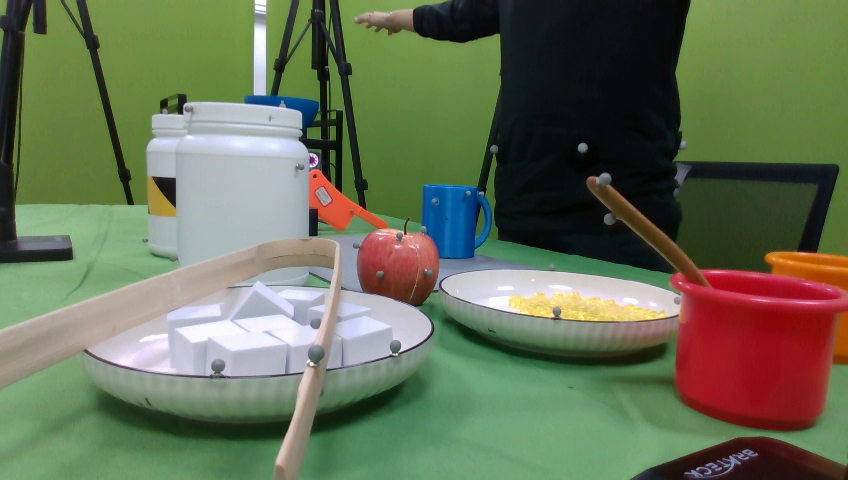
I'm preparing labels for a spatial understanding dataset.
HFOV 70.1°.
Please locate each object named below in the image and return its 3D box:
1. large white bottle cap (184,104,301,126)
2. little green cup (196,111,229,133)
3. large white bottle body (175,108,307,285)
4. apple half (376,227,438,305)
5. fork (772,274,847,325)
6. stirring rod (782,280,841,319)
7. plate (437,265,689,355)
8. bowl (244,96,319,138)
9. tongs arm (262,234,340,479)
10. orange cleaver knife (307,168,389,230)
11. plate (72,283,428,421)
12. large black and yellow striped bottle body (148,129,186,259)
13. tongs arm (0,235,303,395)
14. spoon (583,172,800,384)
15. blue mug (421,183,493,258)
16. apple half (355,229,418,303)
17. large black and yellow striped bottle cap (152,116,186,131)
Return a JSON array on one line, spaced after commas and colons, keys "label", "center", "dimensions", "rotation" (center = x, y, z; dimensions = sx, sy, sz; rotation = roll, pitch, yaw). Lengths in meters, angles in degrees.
[{"label": "large white bottle cap", "center": [-0.184, -0.126, 0.618], "dimensions": [0.115, 0.018, 0.115], "rotation": [2, 8, 0]}, {"label": "little green cup", "center": [-0.403, -0.225, 1.154], "dimensions": [0.061, 0.038, 0.061], "rotation": [3, 8, 0]}, {"label": "large white bottle body", "center": [-0.188, -0.042, 0.630], "dimensions": [0.131, 0.184, 0.130], "rotation": [2, 8, 0]}, {"label": "apple half", "center": [-0.017, 0.026, 0.593], "dimensions": [0.080, 0.074, 0.053], "rotation": [4, 2, 43]}, {"label": "fork", "center": [0.332, 0.018, 0.443], "dimensions": [0.028, 0.018, 0.207], "rotation": [-1, -36, -15]}, {"label": "stirring rod", "center": [0.344, 0.019, 0.461], "dimensions": [0.014, 0.006, 0.176], "rotation": [-13, -27, -30]}, {"label": "plate", "center": [0.114, 0.057, 0.517], "dimensions": [0.209, 0.038, 0.209], "rotation": [3, 7, 0]}, {"label": "bowl", "center": [-0.295, -0.252, 1.254], "dimensions": [0.151, 0.077, 0.151], "rotation": [2, 7, 0]}, {"label": "tongs arm", "center": [-0.074, 0.039, 0.349], "dimensions": [0.051, 0.026, 0.384], "rotation": [-2, 10, -3]}, {"label": "orange cleaver knife", "center": [-0.158, -0.060, 1.166], "dimensions": [0.212, 0.077, 0.012], "rotation": [34, -12, -32]}, {"label": "plate", "center": [-0.102, 0.066, 0.381], "dimensions": [0.208, 0.039, 0.207], "rotation": [2, 7, 0]}, {"label": "large black and yellow striped bottle body", "center": [-0.310, -0.073, 0.838], "dimensions": [0.131, 0.184, 0.130], "rotation": [2, 8, 0]}, {"label": "tongs arm", "center": [-0.157, 0.038, 0.351], "dimensions": [0.028, 0.028, 0.388], "rotation": [-3, 9, 12]}, {"label": "spoon", "center": [0.159, 0.026, 0.358], "dimensions": [0.194, 0.021, 0.041], "rotation": [46, -2, -14]}, {"label": "blue mug", "center": [0.052, -0.032, 0.912], "dimensions": [0.117, 0.106, 0.082], "rotation": [-1, 8, -24]}, {"label": "apple half", "center": [-0.043, 0.027, 0.564], "dimensions": [0.081, 0.081, 0.033], "rotation": [9, 5, 42]}, {"label": "large black and yellow striped bottle cap", "center": [-0.309, -0.155, 0.826], "dimensions": [0.115, 0.019, 0.115], "rotation": [3, 6, 0]}]
